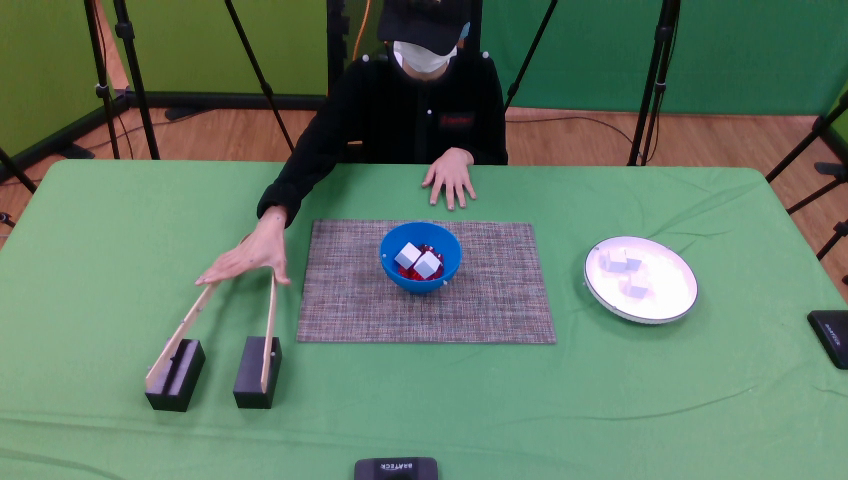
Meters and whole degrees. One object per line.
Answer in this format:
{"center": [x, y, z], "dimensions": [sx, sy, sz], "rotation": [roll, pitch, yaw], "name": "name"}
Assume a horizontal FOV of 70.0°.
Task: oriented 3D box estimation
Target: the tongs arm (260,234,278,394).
{"center": [-0.266, 0.106, 1.025], "dimensions": [0.028, 0.028, 0.385], "rotation": [-6, 36, -7], "name": "tongs arm"}

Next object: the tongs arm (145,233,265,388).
{"center": [-0.353, 0.101, 1.022], "dimensions": [0.051, 0.026, 0.383], "rotation": [5, 34, 4], "name": "tongs arm"}

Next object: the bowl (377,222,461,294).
{"center": [-0.011, 0.046, 1.109], "dimensions": [0.151, 0.077, 0.150], "rotation": [2, 46, -2], "name": "bowl"}

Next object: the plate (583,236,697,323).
{"center": [0.403, 0.078, 1.144], "dimensions": [0.209, 0.038, 0.208], "rotation": [2, 45, -2], "name": "plate"}
